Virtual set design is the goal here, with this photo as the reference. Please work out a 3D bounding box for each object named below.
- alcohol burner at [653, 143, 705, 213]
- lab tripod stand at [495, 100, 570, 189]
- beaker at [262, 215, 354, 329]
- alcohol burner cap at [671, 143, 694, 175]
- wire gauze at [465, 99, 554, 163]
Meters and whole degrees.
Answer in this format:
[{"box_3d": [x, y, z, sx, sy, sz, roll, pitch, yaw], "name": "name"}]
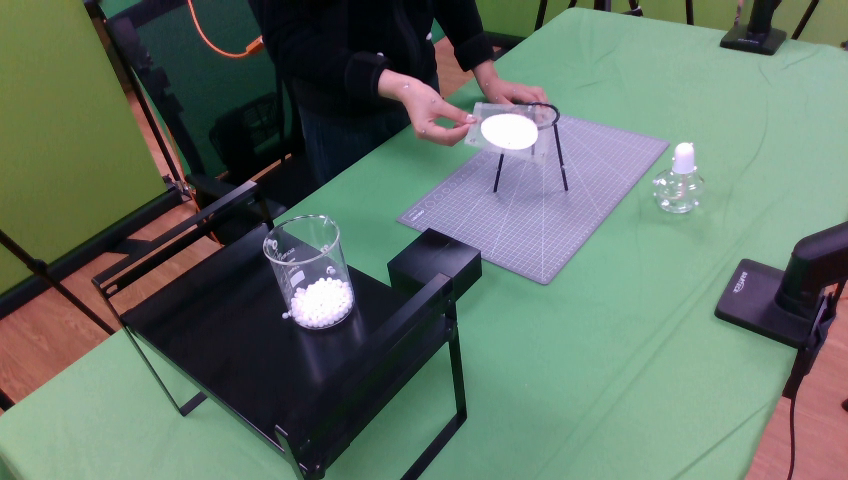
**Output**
[{"box_3d": [0.408, -0.102, 0.963, 0.078, 0.119, 0.077, -6, 42, 6], "name": "alcohol burner"}, {"box_3d": [0.186, -0.161, 1.043, 0.148, 0.132, 0.147, -5, 43, 5], "name": "lab tripod stand"}, {"box_3d": [-0.112, 0.034, 0.616, 0.073, 0.101, 0.084, 13, 44, 23], "name": "beaker"}, {"box_3d": [0.404, -0.129, 0.941, 0.034, 0.048, 0.033, -9, 40, 8], "name": "alcohol burner cap"}, {"box_3d": [0.129, -0.169, 0.904, 0.125, 0.011, 0.121, 12, 49, 7], "name": "wire gauze"}]
